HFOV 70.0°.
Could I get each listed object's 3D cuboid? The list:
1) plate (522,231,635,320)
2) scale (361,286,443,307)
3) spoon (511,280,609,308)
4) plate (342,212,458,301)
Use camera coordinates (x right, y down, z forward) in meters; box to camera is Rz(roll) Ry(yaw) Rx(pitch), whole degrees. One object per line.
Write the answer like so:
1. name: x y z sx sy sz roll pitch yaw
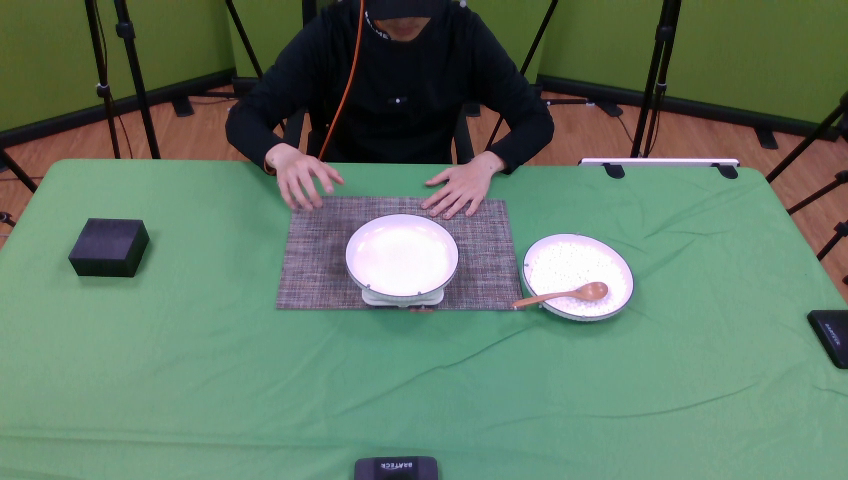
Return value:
1. plate: 0.287 0.069 1.141 0.209 0.038 0.208 2 46 -2
2. scale: -0.042 0.040 1.143 0.149 0.032 0.199 0 46 -4
3. spoon: 0.245 0.098 1.088 0.194 0.022 0.041 -5 47 -19
4. plate: -0.043 0.033 1.105 0.208 0.039 0.206 2 46 -2
